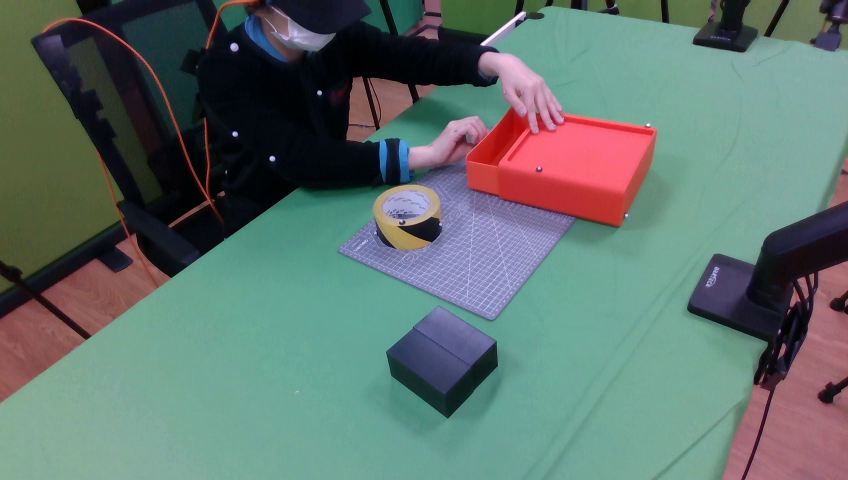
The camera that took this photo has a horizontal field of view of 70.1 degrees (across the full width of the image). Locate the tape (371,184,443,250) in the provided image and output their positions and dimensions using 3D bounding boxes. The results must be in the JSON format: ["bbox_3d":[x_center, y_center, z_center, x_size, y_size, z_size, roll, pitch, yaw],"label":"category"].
[{"bbox_3d":[-0.028,-0.039,0.990,0.117,0.053,0.116,-4,40,4],"label":"tape"}]

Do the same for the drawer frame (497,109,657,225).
[{"bbox_3d":[0.261,-0.132,1.033,0.212,0.083,0.202,16,45,24],"label":"drawer frame"}]

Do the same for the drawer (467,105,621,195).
[{"bbox_3d":[0.210,-0.146,1.059,0.210,0.073,0.195,18,46,25],"label":"drawer"}]
